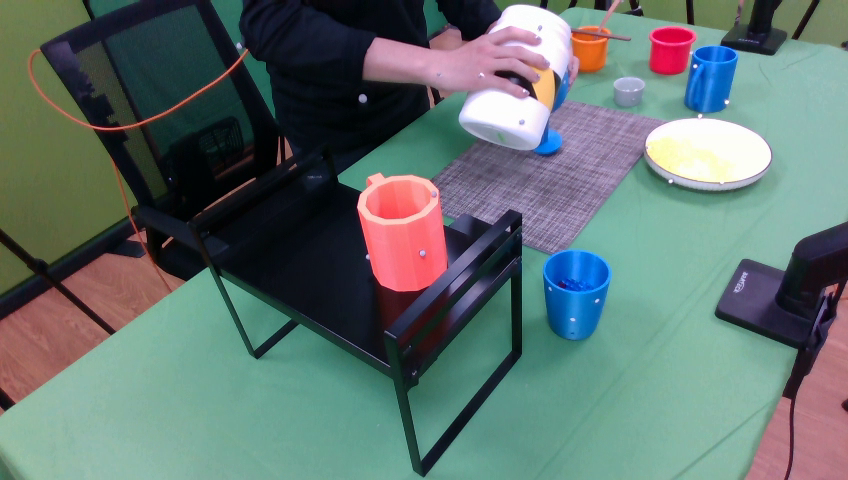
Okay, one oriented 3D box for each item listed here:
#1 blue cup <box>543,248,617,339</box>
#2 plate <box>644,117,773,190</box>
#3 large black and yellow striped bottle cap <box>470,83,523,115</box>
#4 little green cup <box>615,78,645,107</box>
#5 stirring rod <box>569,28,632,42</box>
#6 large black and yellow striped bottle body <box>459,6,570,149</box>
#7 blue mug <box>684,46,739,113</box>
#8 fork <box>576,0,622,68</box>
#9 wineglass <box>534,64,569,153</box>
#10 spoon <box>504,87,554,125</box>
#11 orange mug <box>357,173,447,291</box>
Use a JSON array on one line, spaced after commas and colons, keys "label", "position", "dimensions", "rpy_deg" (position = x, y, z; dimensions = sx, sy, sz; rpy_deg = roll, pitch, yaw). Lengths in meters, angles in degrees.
[{"label": "blue cup", "position": [0.199, 0.076, 0.797], "dimensions": [0.092, 0.100, 0.092], "rpy_deg": [-4, 39, 4]}, {"label": "plate", "position": [0.495, -0.148, 1.063], "dimensions": [0.209, 0.038, 0.208], "rpy_deg": [-5, 40, 4]}, {"label": "large black and yellow striped bottle cap", "position": [0.156, -0.308, 1.316], "dimensions": [0.115, 0.019, 0.114], "rpy_deg": [-7, 39, 6]}, {"label": "little green cup", "position": [0.426, -0.306, 1.257], "dimensions": [0.061, 0.039, 0.061], "rpy_deg": [-4, 40, 4]}, {"label": "stirring rod", "position": [0.381, -0.463, 1.356], "dimensions": [0.175, 0.006, 0.014], "rpy_deg": [22, 48, 30]}, {"label": "large black and yellow striped bottle body", "position": [0.142, -0.245, 0.923], "dimensions": [0.130, 0.132, 0.184], "rpy_deg": [19, 90, 28]}, {"label": "blue mug", "position": [0.556, -0.310, 1.190], "dimensions": [0.117, 0.106, 0.081], "rpy_deg": [-32, 46, -25]}, {"label": "fork", "position": [0.409, -0.484, 1.381], "dimensions": [0.028, 0.019, 0.207], "rpy_deg": [37, 101, 46]}, {"label": "wineglass", "position": [0.222, -0.241, 1.084], "dimensions": [0.073, 0.173, 0.073], "rpy_deg": [-4, 51, 6]}, {"label": "spoon", "position": [0.227, -0.285, 1.269], "dimensions": [0.041, 0.022, 0.194], "rpy_deg": [3, 37, 44]}, {"label": "orange mug", "position": [-0.029, -0.018, 0.669], "dimensions": [0.084, 0.101, 0.125], "rpy_deg": [-23, 46, -16]}]
